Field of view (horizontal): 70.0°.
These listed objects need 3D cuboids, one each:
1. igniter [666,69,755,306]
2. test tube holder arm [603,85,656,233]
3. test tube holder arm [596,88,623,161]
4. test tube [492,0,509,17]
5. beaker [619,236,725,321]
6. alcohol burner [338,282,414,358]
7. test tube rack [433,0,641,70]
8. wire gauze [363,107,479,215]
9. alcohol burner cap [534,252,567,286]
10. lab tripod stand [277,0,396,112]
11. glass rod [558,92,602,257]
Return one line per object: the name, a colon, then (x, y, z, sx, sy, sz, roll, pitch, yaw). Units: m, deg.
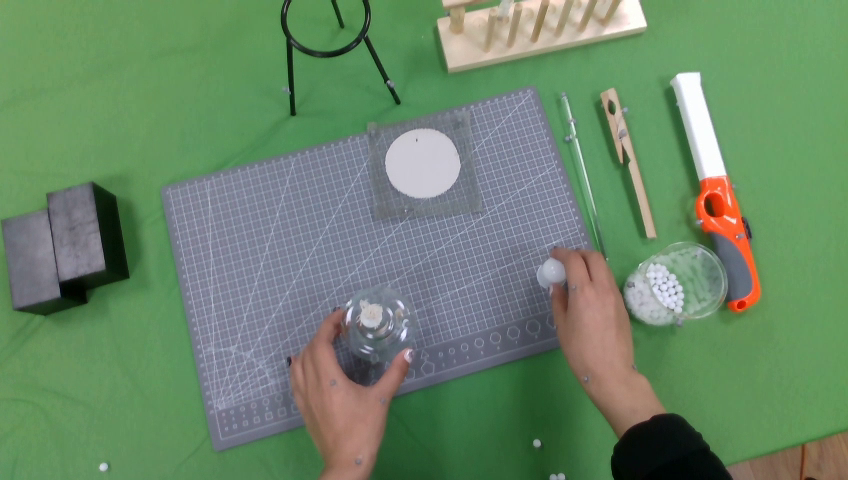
igniter: (0.320, -0.063, 0.679, 0.057, 0.025, 0.275, -6, 77, -12)
test tube holder arm: (0.233, -0.093, 0.689, 0.013, 0.015, 0.177, -22, 76, 31)
test tube holder arm: (0.217, -0.134, 0.702, 0.010, 0.015, 0.087, -21, 76, 31)
test tube: (0.093, -0.287, 0.650, 0.017, 0.150, 0.017, 1, 77, -5)
beaker: (0.244, 0.043, 0.620, 0.084, 0.101, 0.073, 15, 77, 5)
alcohol burner: (-0.050, 0.077, 0.604, 0.078, 0.119, 0.077, -1, 77, 3)
test tube rack: (0.135, -0.270, 0.697, 0.242, 0.085, 0.066, -13, 77, -2)
wire gauze: (-0.005, -0.090, 0.695, 0.125, 0.011, 0.121, -5, 79, -1)
alcohol burner cap: (0.137, 0.029, 0.650, 0.034, 0.048, 0.033, 0, 76, 2)
lab tripod stand: (-0.102, -0.207, 0.660, 0.148, 0.132, 0.147, 0, 79, 0)
glass rod: (0.178, -0.077, 0.692, 0.008, 0.008, 0.199, -11, 80, -2)
